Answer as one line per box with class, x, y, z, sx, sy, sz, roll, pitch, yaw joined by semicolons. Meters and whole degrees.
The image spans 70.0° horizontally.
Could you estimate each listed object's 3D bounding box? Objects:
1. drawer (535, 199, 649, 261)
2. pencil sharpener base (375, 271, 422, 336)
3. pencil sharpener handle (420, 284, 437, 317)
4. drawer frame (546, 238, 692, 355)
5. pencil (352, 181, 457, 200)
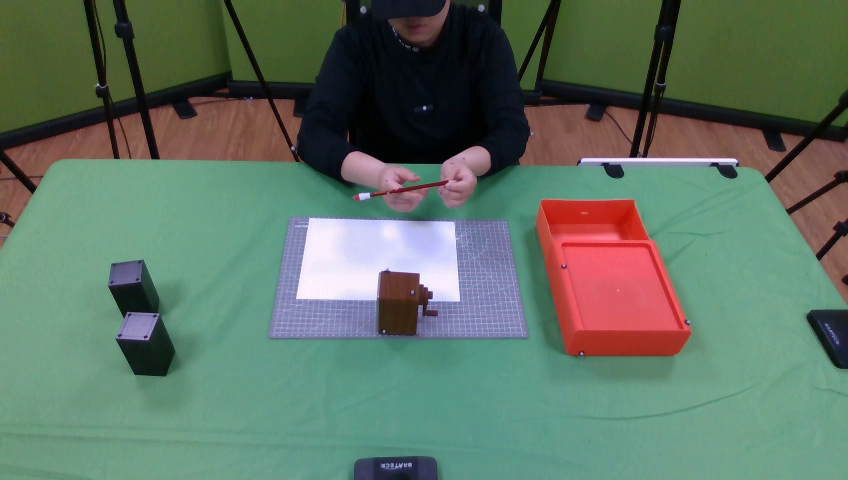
drawer;0.332;0.015;1.169;0.195;0.073;0.210;0;46;-5
pencil sharpener base;-0.042;0.109;1.025;0.077;0.107;0.061;3;45;-2
pencil sharpener handle;0.009;0.104;1.017;0.030;0.068;0.036;3;40;-2
drawer frame;0.338;0.097;1.086;0.202;0.083;0.212;0;46;-4
pencil;-0.035;-0.092;1.108;0.194;0.012;0.012;-9;46;-2
